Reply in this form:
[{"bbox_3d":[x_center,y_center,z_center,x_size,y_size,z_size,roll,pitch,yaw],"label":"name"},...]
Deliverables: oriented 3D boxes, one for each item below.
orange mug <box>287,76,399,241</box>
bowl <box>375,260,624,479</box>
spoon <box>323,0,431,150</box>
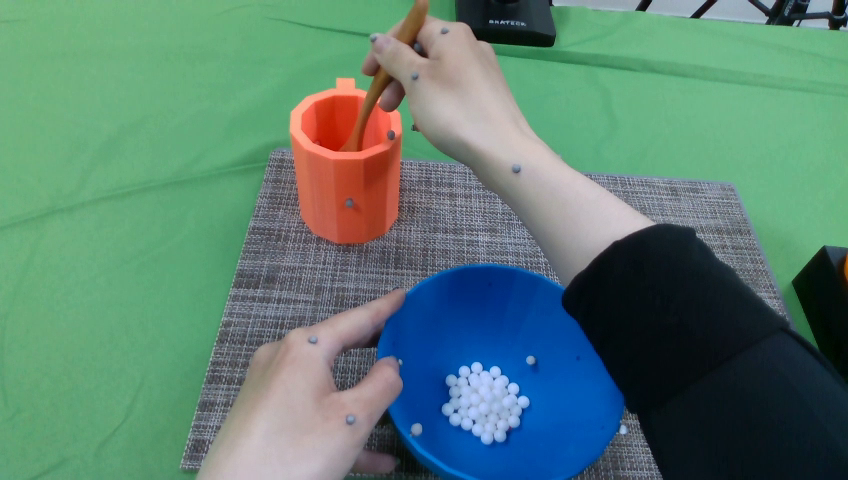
[{"bbox_3d":[-0.067,-0.076,0.508,0.083,0.101,0.125,-2,55,-8],"label":"orange mug"},{"bbox_3d":[0.042,0.095,0.391,0.151,0.077,0.150,4,50,-4],"label":"bowl"},{"bbox_3d":[-0.044,-0.096,0.448,0.022,0.194,0.041,-24,71,-42],"label":"spoon"}]
